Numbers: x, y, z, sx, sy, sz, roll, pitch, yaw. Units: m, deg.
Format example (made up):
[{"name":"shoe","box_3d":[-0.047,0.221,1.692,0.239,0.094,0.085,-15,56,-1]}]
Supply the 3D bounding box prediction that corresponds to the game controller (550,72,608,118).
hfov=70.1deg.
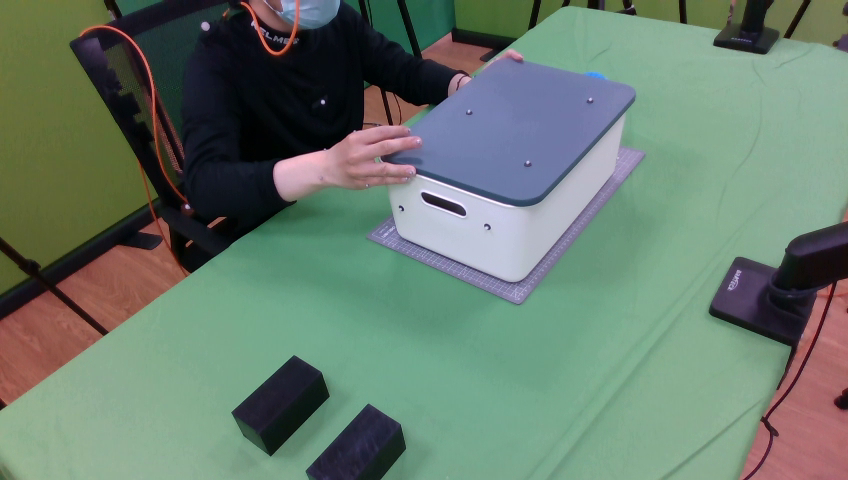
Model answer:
[{"name":"game controller","box_3d":[0.326,-0.306,1.260,0.096,0.052,0.155,14,45,17]}]

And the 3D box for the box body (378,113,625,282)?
[{"name":"box body","box_3d":[0.137,-0.121,0.978,0.252,0.161,0.365,22,49,30]}]

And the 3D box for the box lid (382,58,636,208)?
[{"name":"box lid","box_3d":[0.140,-0.183,0.927,0.261,0.015,0.372,23,48,28]}]
